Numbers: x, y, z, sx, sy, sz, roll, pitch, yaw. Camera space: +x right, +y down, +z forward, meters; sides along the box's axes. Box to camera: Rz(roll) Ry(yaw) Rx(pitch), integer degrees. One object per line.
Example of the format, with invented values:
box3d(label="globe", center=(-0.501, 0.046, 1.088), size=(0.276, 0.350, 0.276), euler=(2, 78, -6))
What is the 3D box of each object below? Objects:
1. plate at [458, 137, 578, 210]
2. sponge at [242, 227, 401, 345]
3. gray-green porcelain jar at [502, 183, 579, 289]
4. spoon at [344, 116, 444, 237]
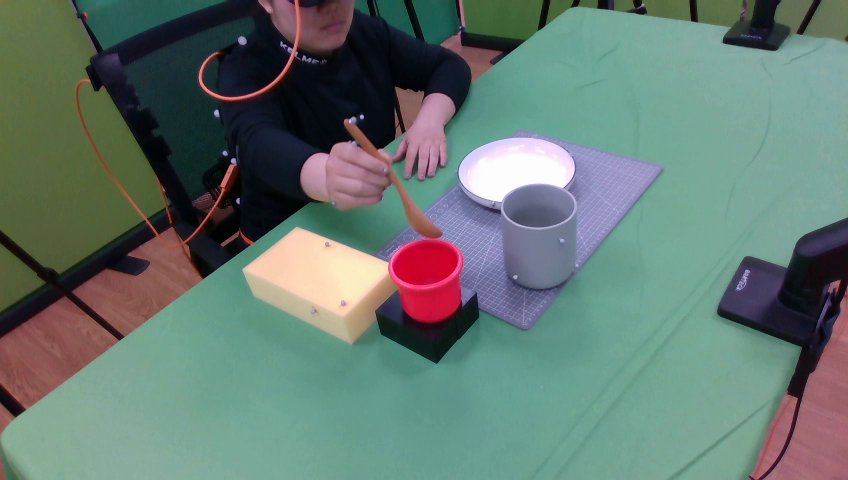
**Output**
box3d(label="plate", center=(0.166, -0.113, 1.068), size=(0.207, 0.039, 0.206), euler=(-5, 40, 5))
box3d(label="sponge", center=(-0.154, 0.063, 0.907), size=(0.205, 0.061, 0.118), euler=(19, 48, 29))
box3d(label="gray-green porcelain jar", center=(0.167, -0.001, 0.866), size=(0.106, 0.127, 0.105), euler=(-5, 40, 5))
box3d(label="spoon", center=(-0.034, -0.069, 0.707), size=(0.041, 0.195, 0.021), euler=(3, 47, 47))
